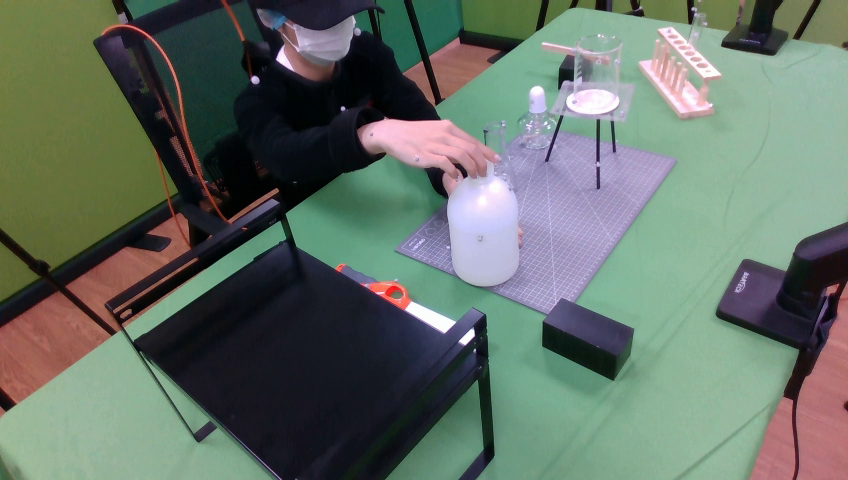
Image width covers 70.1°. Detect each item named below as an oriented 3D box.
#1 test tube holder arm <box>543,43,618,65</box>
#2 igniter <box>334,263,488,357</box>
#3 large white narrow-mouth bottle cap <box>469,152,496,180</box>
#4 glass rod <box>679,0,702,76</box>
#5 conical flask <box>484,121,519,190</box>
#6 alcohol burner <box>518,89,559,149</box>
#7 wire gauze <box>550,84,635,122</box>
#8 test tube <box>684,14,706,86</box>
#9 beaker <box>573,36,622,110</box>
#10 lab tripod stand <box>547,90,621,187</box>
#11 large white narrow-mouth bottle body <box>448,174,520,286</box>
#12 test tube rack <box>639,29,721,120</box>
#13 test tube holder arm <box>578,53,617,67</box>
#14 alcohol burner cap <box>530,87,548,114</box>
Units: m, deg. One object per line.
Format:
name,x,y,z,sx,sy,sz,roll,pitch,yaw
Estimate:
test tube holder arm,0.345,-0.413,1.341,0.177,0.015,0.013,25,50,32
igniter,-0.030,0.095,0.872,0.274,0.025,0.057,23,60,31
large white narrow-mouth bottle cap,0.078,-0.100,0.811,0.038,0.024,0.037,-4,40,4
glass rod,0.543,-0.417,1.233,0.008,0.200,0.008,1,39,0
conical flask,0.126,-0.145,1.051,0.075,0.122,0.075,-5,41,5
alcohol burner,0.218,-0.235,1.149,0.078,0.119,0.077,-5,43,5
wire gauze,0.285,-0.234,1.021,0.124,0.011,0.121,8,41,23
test tube,0.540,-0.378,1.215,0.017,0.151,0.017,-2,44,3
beaker,0.284,-0.273,0.990,0.073,0.101,0.084,16,46,28
lab tripod stand,0.289,-0.184,1.062,0.148,0.132,0.147,-6,41,6
large white narrow-mouth bottle body,0.086,-0.032,0.868,0.102,0.195,0.101,-4,40,4
test tube rack,0.527,-0.351,1.262,0.067,0.085,0.241,-8,40,1
test tube holder arm,0.376,-0.393,1.314,0.087,0.015,0.010,26,50,32
alcohol burner cap,0.212,-0.262,1.126,0.034,0.048,0.033,-8,37,7
